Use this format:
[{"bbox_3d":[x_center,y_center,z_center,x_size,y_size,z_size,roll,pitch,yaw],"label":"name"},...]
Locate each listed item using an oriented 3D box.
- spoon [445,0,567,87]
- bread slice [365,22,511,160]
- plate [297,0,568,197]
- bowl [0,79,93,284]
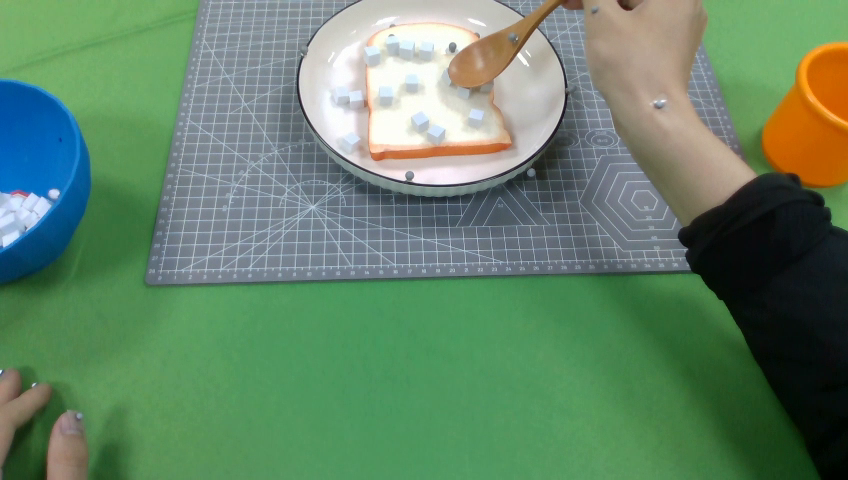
[{"bbox_3d":[0.095,-0.165,0.421,0.193,0.022,0.041,-29,59,31],"label":"spoon"},{"bbox_3d":[0.002,-0.121,0.486,0.107,0.018,0.133,-8,63,-6],"label":"bread slice"},{"bbox_3d":[0.006,-0.118,0.481,0.209,0.038,0.207,1,61,-1],"label":"plate"},{"bbox_3d":[-0.286,-0.024,0.398,0.151,0.077,0.150,1,61,-2],"label":"bowl"}]
